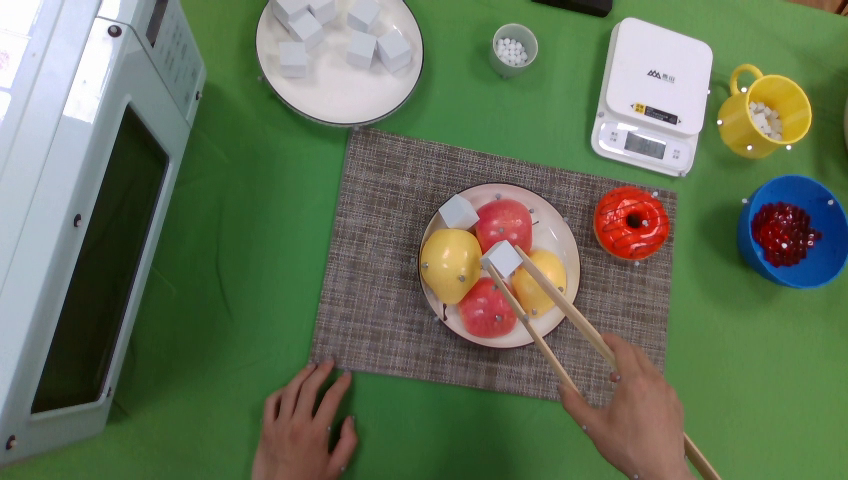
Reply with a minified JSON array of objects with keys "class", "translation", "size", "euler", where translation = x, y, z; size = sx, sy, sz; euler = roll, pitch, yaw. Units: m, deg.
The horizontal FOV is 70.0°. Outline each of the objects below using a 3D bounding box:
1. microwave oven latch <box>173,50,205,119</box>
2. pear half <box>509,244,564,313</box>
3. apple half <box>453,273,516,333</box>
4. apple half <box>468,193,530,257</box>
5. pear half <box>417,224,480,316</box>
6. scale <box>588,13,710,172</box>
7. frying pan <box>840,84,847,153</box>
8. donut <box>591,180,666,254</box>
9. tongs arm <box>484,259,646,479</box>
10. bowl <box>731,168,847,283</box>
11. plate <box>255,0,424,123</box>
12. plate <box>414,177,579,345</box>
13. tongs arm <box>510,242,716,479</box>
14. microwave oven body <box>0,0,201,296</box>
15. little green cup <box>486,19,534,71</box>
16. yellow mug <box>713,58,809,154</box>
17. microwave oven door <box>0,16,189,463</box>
[{"class":"microwave oven latch","translation":[-0.279,-0.184,0.707],"size":[0.030,0.029,0.079],"euler":[15,79,-8]},{"class":"pear half","translation":[0.141,0.046,0.753],"size":[0.070,0.031,0.087],"euler":[10,77,5]},{"class":"apple half","translation":[0.077,0.076,0.735],"size":[0.081,0.033,0.081],"euler":[4,71,-11]},{"class":"apple half","translation":[0.095,-0.020,0.745],"size":[0.075,0.053,0.080],"euler":[-2,84,-7]},{"class":"pear half","translation":[0.032,0.036,0.720],"size":[0.077,0.056,0.109],"euler":[5,83,-18]},{"class":"scale","translation":[0.312,-0.204,0.838],"size":[0.149,0.031,0.200],"euler":[14,79,-7]},{"class":"frying pan","translation":[0.771,-0.072,0.861],"size":[0.307,0.103,0.485],"euler":[-17,76,-11]},{"class":"donut","translation":[0.265,-0.030,0.791],"size":[0.099,0.048,0.098],"euler":[1,81,-7]},{"class":"tongs arm","translation":[0.184,0.166,0.612],"size":[0.051,0.027,0.382],"euler":[-28,70,-13]},{"class":"bowl","translation":[0.470,-0.013,0.812],"size":[0.152,0.077,0.151],"euler":[2,81,-9]},{"class":"plate","translation":[-0.105,-0.243,0.767],"size":[0.208,0.039,0.207],"euler":[2,80,-10]},{"class":"plate","translation":[0.089,0.026,0.754],"size":[0.210,0.038,0.208],"euler":[2,81,-10]},{"class":"tongs arm","translation":[0.205,0.153,0.618],"size":[0.028,0.028,0.384],"euler":[-30,70,-18]},{"class":"microwave oven body","translation":[-0.442,-0.063,0.560],"size":[0.327,0.260,0.440],"euler":[13,79,-8]},{"class":"little green cup","translation":[0.113,-0.257,0.808],"size":[0.062,0.038,0.061],"euler":[2,80,-9]},{"class":"yellow mug","translation":[0.462,-0.192,0.845],"size":[0.100,0.064,0.130],"euler":[-23,84,-12]},{"class":"microwave oven door","translation":[-0.308,0.009,0.567],"size":[0.039,0.244,0.354],"euler":[12,79,-7]}]
